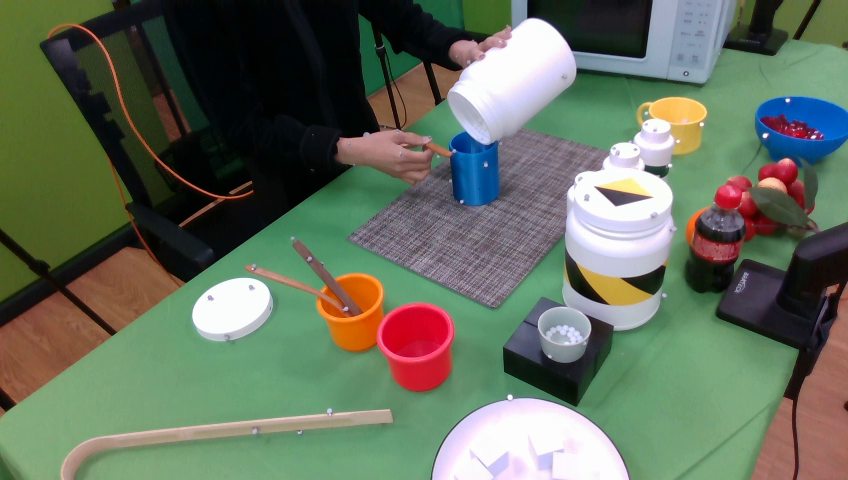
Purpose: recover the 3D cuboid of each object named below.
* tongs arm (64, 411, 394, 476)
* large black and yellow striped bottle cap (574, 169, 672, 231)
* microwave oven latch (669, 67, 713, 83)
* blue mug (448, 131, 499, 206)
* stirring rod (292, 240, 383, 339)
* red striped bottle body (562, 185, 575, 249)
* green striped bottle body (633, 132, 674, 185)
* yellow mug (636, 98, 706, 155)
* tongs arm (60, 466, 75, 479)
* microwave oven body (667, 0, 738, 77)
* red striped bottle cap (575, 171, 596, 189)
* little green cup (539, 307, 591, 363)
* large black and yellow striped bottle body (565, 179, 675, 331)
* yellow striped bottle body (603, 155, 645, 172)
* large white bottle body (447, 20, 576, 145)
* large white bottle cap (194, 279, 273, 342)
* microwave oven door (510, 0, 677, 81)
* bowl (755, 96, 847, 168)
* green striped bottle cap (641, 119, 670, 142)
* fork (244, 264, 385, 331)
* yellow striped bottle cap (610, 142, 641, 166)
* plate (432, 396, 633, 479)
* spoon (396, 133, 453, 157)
[{"bbox_3d":[-0.228,0.240,0.715,0.385,0.026,0.050,-5,44,5],"label":"tongs arm"},{"bbox_3d":[0.242,-0.051,0.738,0.115,0.019,0.114,-4,37,3],"label":"large black and yellow striped bottle cap"},{"bbox_3d":[0.556,-0.349,1.261,0.078,0.029,0.030,16,46,27],"label":"microwave oven latch"},{"bbox_3d":[0.089,-0.135,1.050,0.082,0.106,0.116,1,41,11],"label":"blue mug"},{"bbox_3d":[-0.118,0.068,0.825,0.176,0.006,0.014,48,59,-4],"label":"stirring rod"},{"bbox_3d":[0.247,-0.041,0.910,0.063,0.120,0.062,0,38,1],"label":"red striped bottle body"},{"bbox_3d":[0.376,-0.135,1.001,0.063,0.120,0.063,-5,41,5],"label":"green striped bottle body"},{"bbox_3d":[0.453,-0.217,1.128,0.100,0.064,0.129,-34,46,-27],"label":"yellow mug"},{"bbox_3d":[-0.239,0.301,0.649,0.386,0.028,0.028,6,49,16],"label":"tongs arm"},{"bbox_3d":[0.462,-0.552,1.369,0.439,0.261,0.326,15,45,26],"label":"microwave oven body"},{"bbox_3d":[0.242,-0.081,0.876,0.044,0.018,0.044,-5,43,5],"label":"red striped bottle cap"},{"bbox_3d":[0.167,0.114,0.721,0.061,0.039,0.061,-4,43,4],"label":"little green cup"},{"bbox_3d":[0.254,0.014,0.793,0.131,0.185,0.130,-5,40,4],"label":"large black and yellow striped bottle body"},{"bbox_3d":[0.314,-0.091,0.958,0.063,0.121,0.062,-4,40,4],"label":"yellow striped bottle body"},{"bbox_3d":[0.140,-0.253,0.989,0.185,0.131,0.129,-41,47,-9],"label":"large white bottle body"},{"bbox_3d":[-0.284,0.103,0.902,0.115,0.018,0.114,-4,40,4],"label":"large white bottle cap"},{"bbox_3d":[0.354,-0.478,1.290,0.353,0.245,0.039,15,45,25],"label":"microwave oven door"},{"bbox_3d":[0.645,-0.177,1.041,0.151,0.077,0.150,-5,40,4],"label":"bowl"},{"bbox_3d":[0.371,-0.175,0.968,0.044,0.020,0.044,-5,42,5],"label":"green striped bottle cap"},{"bbox_3d":[-0.142,0.078,0.806,0.209,0.018,0.028,30,34,-24],"label":"fork"},{"bbox_3d":[0.308,-0.131,0.925,0.044,0.019,0.044,-4,45,5],"label":"yellow striped bottle cap"},{"bbox_3d":[0.112,0.261,0.634,0.209,0.038,0.208,-5,40,4],"label":"plate"},{"bbox_3d":[-0.001,-0.157,1.004,0.042,0.022,0.192,-26,23,-15],"label":"spoon"}]
